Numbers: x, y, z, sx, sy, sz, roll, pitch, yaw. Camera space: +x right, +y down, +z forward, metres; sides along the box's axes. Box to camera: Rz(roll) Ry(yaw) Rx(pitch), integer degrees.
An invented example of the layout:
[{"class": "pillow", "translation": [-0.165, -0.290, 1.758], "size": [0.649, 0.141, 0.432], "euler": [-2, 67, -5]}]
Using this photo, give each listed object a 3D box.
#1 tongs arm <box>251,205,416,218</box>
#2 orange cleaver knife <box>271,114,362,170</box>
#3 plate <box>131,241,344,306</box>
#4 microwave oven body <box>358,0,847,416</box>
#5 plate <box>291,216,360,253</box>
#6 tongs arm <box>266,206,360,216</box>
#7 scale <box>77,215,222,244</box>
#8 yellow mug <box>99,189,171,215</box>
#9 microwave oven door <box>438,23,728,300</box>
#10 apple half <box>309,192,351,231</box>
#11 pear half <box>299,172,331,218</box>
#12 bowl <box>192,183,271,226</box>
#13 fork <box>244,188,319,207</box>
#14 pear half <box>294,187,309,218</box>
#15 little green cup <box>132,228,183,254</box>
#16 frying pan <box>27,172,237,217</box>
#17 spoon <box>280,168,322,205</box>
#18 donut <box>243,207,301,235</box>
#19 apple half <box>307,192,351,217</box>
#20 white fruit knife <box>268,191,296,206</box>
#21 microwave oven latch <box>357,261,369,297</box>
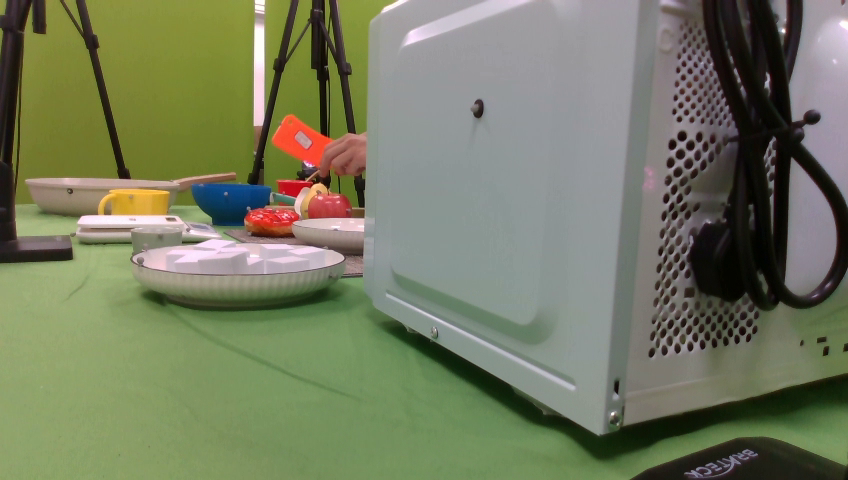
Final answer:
[{"class": "tongs arm", "translation": [-0.210, -0.067, 1.439], "size": [0.389, 0.027, 0.028], "euler": [0, -1, -16]}, {"class": "orange cleaver knife", "translation": [-0.198, -0.179, 1.190], "size": [0.212, 0.077, 0.012], "euler": [19, -7, -36]}, {"class": "plate", "translation": [-0.187, 0.033, 0.625], "size": [0.208, 0.039, 0.207], "euler": [2, 8, 0]}, {"class": "microwave oven body", "translation": [0.211, -0.047, 0.474], "size": [0.444, 0.260, 0.324], "euler": [-1, 7, -28]}, {"class": "plate", "translation": [-0.103, -0.009, 0.945], "size": [0.209, 0.038, 0.209], "euler": [2, 7, 0]}, {"class": "tongs arm", "translation": [-0.173, -0.061, 1.362], "size": [0.387, 0.026, 0.050], "euler": [-1, 3, -31]}, {"class": "scale", "translation": [-0.434, -0.019, 0.963], "size": [0.202, 0.031, 0.148], "euler": [-1, 9, -27]}, {"class": "yellow mug", "translation": [-0.519, -0.055, 1.080], "size": [0.099, 0.064, 0.131], "euler": [7, 9, 26]}, {"class": "microwave oven door", "translation": [0.181, -0.073, 0.621], "size": [0.358, 0.243, 0.039], "euler": [-2, 8, -29]}, {"class": "apple half", "translation": [-0.173, -0.055, 1.125], "size": [0.081, 0.081, 0.033], "euler": [2, 10, 2]}, {"class": "pear half", "translation": [-0.201, -0.077, 1.184], "size": [0.077, 0.110, 0.055], "euler": [-7, 12, -36]}, {"class": "bowl", "translation": [-0.382, -0.070, 1.202], "size": [0.151, 0.077, 0.151], "euler": [3, 7, 0]}, {"class": "fork", "translation": [-0.356, -0.105, 1.526], "size": [0.208, 0.018, 0.028], "euler": [16, -5, -41]}, {"class": "pear half", "translation": [-0.235, -0.064, 1.233], "size": [0.071, 0.088, 0.031], "euler": [-6, -23, -39]}, {"class": "little green cup", "translation": [-0.342, 0.006, 0.779], "size": [0.061, 0.038, 0.061], "euler": [2, 8, 0]}, {"class": "frying pan", "translation": [-0.624, -0.118, 1.387], "size": [0.305, 0.102, 0.490], "euler": [8, 17, 32]}, {"class": "spoon", "translation": [-0.316, -0.159, 1.640], "size": [0.194, 0.022, 0.041], "euler": [-50, 31, -20]}, {"class": "donut", "translation": [-0.261, -0.032, 1.043], "size": [0.099, 0.048, 0.099], "euler": [4, 9, 0]}, {"class": "apple half", "translation": [-0.174, -0.049, 1.087], "size": [0.081, 0.074, 0.053], "euler": [6, 11, 2]}, {"class": "white fruit knife", "translation": [-0.364, -0.105, 1.464], "size": [0.208, 0.027, 0.016], "euler": [15, -1, -34]}, {"class": "microwave oven latch", "translation": [-0.019, 0.033, 0.530], "size": [0.079, 0.029, 0.030], "euler": [-1, 7, -26]}]
